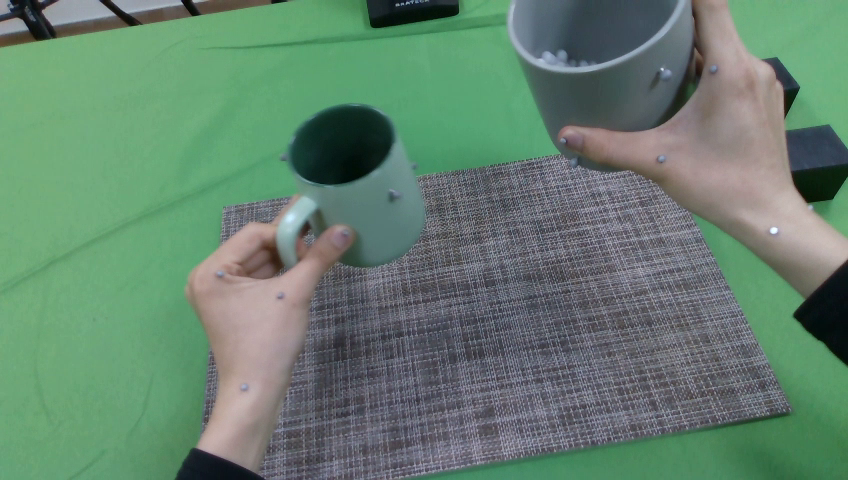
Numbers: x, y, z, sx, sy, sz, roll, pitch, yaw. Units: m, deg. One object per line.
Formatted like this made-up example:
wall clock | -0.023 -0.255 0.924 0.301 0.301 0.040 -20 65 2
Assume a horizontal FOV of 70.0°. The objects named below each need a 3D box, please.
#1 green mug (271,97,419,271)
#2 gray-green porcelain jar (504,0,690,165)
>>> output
green mug | -0.064 -0.031 0.455 0.092 0.106 0.125 28 66 24
gray-green porcelain jar | 0.121 -0.119 0.405 0.105 0.128 0.105 -10 62 20
